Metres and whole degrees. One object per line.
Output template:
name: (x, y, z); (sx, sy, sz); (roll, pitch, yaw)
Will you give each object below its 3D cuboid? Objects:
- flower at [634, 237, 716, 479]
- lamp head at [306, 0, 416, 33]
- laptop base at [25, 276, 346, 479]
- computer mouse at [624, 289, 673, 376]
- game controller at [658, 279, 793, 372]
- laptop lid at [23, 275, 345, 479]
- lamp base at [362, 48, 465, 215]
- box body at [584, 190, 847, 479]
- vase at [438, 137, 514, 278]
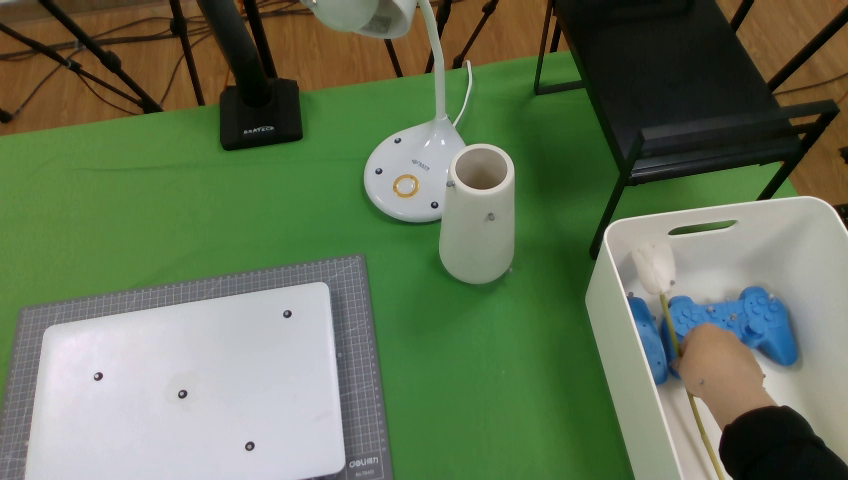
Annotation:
flower: (0.296, 0.170, 0.674); (0.044, 0.038, 0.360); (-4, 76, -26)
lamp head: (-0.046, -0.255, 0.517); (0.112, 0.113, 0.122); (18, 80, 12)
laptop base: (-0.278, 0.175, 0.717); (0.355, 0.023, 0.233); (-9, 64, -4)
computer mouse: (0.249, 0.107, 0.723); (0.063, 0.041, 0.116); (-10, 52, -2)
game controller: (0.358, 0.099, 0.724); (0.155, 0.052, 0.096); (-6, 59, -4)
laptop lid: (-0.278, 0.172, 0.706); (0.357, 0.013, 0.239); (-8, 63, -3)
lamp base: (-0.006, -0.152, 0.802); (0.160, 0.182, 0.178); (21, 61, 13)
box body: (0.336, 0.151, 0.634); (0.254, 0.162, 0.360); (-8, 61, -2)
vase: (0.062, -0.034, 0.723); (0.098, 0.202, 0.097); (-1, 59, 3)
